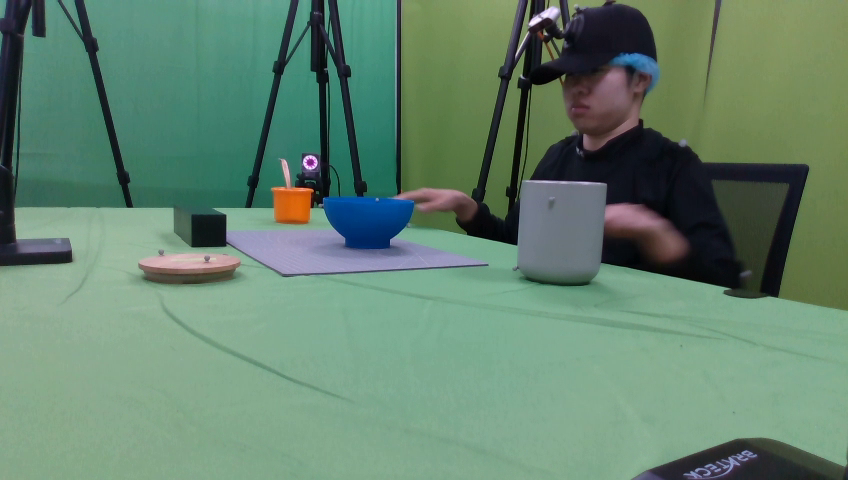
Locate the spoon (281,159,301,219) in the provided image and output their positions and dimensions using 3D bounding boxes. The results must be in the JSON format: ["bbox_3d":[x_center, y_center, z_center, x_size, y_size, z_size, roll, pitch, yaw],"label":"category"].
[{"bbox_3d":[-0.307,-0.117,1.368,0.042,0.193,0.021,1,-38,-23],"label":"spoon"}]

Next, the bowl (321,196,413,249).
[{"bbox_3d":[-0.094,-0.029,0.992,0.151,0.077,0.151,3,7,0],"label":"bowl"}]

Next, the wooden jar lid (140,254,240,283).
[{"bbox_3d":[-0.269,0.032,0.698,0.108,0.020,0.108,2,5,0],"label":"wooden jar lid"}]

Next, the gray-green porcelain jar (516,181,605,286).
[{"bbox_3d":[0.172,-0.010,0.768,0.106,0.126,0.106,2,7,0],"label":"gray-green porcelain jar"}]
